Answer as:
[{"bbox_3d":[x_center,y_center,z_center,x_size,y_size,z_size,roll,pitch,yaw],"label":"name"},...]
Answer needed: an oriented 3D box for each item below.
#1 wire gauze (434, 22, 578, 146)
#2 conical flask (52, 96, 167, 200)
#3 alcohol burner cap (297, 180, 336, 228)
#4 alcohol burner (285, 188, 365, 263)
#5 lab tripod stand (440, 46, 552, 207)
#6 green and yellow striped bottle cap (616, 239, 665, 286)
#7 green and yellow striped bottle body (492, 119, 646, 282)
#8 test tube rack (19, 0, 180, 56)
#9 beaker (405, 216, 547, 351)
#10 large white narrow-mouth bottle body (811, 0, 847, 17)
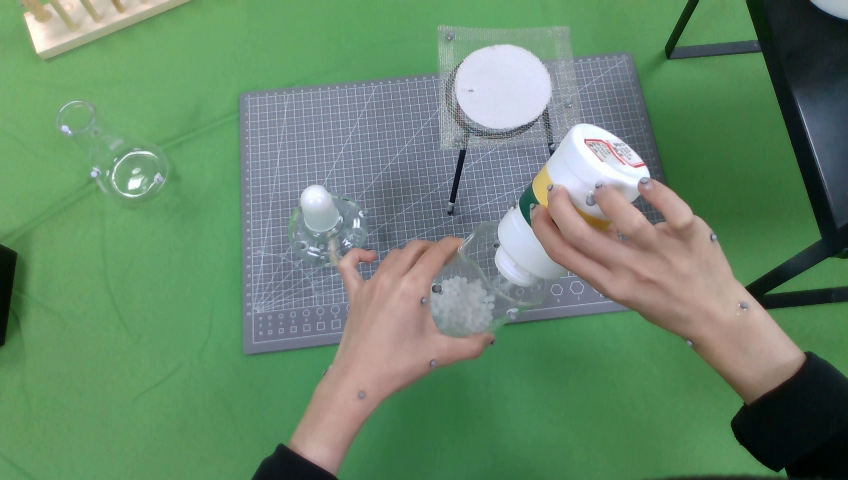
[{"bbox_3d":[0.071,-0.141,0.533,0.121,0.011,0.124,-1,71,-1],"label":"wire gauze"},{"bbox_3d":[-0.317,-0.096,0.605,0.075,0.122,0.075,0,70,2],"label":"conical flask"},{"bbox_3d":[-0.098,-0.035,0.543,0.034,0.048,0.033,1,64,-1],"label":"alcohol burner cap"},{"bbox_3d":[-0.097,-0.021,0.577,0.078,0.120,0.077,0,69,0],"label":"alcohol burner"},{"bbox_3d":[0.065,-0.114,0.595,0.148,0.132,0.147,0,69,0],"label":"lab tripod stand"},{"bbox_3d":[0.217,0.022,0.607,0.045,0.020,0.045,-1,71,3],"label":"green and yellow striped bottle cap"},{"bbox_3d":[0.095,-0.021,0.433,0.063,0.120,0.062,21,39,-17],"label":"green and yellow striped bottle body"},{"bbox_3d":[-0.360,-0.310,0.699,0.242,0.086,0.066,-26,72,-8],"label":"test tube rack"},{"bbox_3d":[0.035,0.038,0.484,0.084,0.100,0.073,17,48,-30],"label":"beaker"},{"bbox_3d":[0.353,-0.257,0.419,0.102,0.196,0.101,0,69,1],"label":"large white narrow-mouth bottle body"}]
